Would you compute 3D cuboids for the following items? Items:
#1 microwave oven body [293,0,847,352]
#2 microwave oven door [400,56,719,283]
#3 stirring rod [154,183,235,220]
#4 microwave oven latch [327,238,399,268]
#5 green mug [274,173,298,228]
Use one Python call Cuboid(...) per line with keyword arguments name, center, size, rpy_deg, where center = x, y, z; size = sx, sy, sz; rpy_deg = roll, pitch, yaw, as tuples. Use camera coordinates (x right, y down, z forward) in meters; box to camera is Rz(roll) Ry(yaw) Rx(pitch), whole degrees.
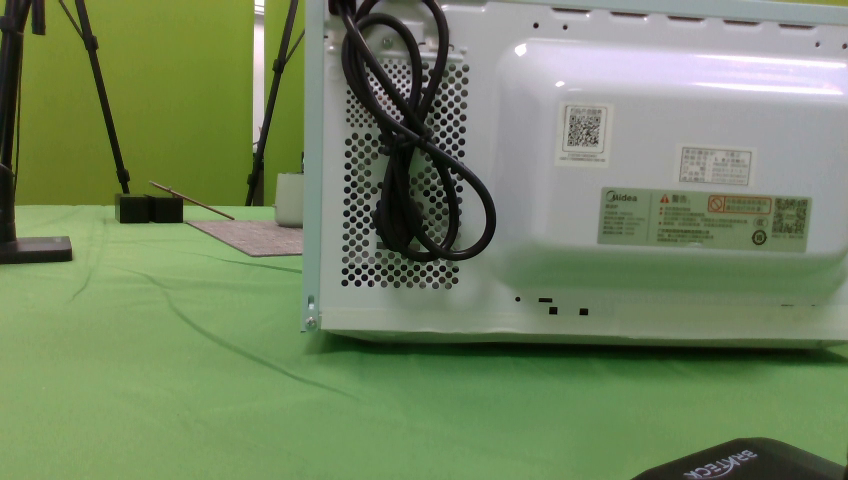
Cuboid(name="microwave oven body", center=(0.122, -0.055, 0.550), size=(0.442, 0.260, 0.325), rpy_deg=(3, 7, -5))
Cuboid(name="microwave oven door", center=(0.155, -0.077, 0.697), size=(0.356, 0.243, 0.039), rpy_deg=(2, 8, -5))
Cuboid(name="stirring rod", center=(-0.472, -0.079, 1.252), size=(0.177, 0.006, 0.014), rpy_deg=(27, 4, -35))
Cuboid(name="microwave oven latch", center=(-0.069, 0.015, 0.694), size=(0.079, 0.029, 0.030), rpy_deg=(3, 7, -2))
Cuboid(name="green mug", center=(-0.242, -0.081, 1.221), size=(0.092, 0.105, 0.126), rpy_deg=(8, 9, 39))
